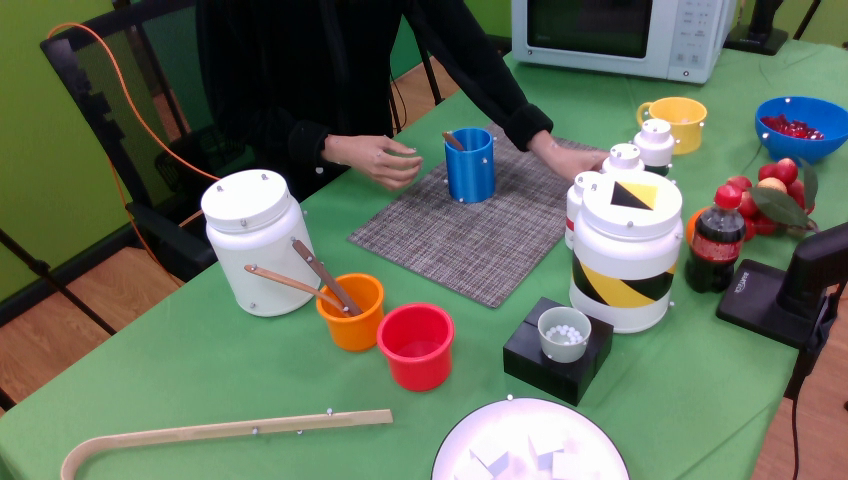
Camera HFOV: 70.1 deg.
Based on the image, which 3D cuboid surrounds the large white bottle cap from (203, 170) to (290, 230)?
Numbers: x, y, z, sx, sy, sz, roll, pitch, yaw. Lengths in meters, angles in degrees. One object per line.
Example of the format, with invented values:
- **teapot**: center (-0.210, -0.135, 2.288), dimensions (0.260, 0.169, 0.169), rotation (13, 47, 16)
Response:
- **large white bottle cap**: center (-0.241, -0.057, 0.822), dimensions (0.115, 0.018, 0.114), rotation (-4, 41, 4)

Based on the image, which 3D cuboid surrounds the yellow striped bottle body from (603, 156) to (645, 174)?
- **yellow striped bottle body**: center (0.313, -0.089, 0.955), dimensions (0.063, 0.121, 0.062), rotation (-4, 39, 4)

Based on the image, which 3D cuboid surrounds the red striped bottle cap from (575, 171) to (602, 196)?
- **red striped bottle cap**: center (0.242, -0.081, 0.876), dimensions (0.044, 0.018, 0.044), rotation (-5, 44, 5)

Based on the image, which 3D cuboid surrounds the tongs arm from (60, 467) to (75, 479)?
- **tongs arm**: center (-0.239, 0.301, 0.648), dimensions (0.386, 0.028, 0.028), rotation (6, 49, 16)

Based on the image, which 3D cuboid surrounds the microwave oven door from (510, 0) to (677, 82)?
- **microwave oven door**: center (0.352, -0.477, 1.289), dimensions (0.353, 0.245, 0.039), rotation (15, 44, 25)

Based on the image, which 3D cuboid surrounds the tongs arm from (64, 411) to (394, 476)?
- **tongs arm**: center (-0.228, 0.241, 0.715), dimensions (0.385, 0.026, 0.050), rotation (-5, 43, 4)

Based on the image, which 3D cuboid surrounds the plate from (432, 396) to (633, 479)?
- **plate**: center (0.112, 0.261, 0.634), dimensions (0.209, 0.038, 0.208), rotation (-5, 40, 4)

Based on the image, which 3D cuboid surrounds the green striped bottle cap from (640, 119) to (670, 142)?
- **green striped bottle cap**: center (0.370, -0.175, 0.968), dimensions (0.044, 0.020, 0.044), rotation (-3, 41, 3)

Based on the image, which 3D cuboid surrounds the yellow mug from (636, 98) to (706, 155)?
- **yellow mug**: center (0.453, -0.217, 1.128), dimensions (0.100, 0.064, 0.129), rotation (-34, 46, -27)

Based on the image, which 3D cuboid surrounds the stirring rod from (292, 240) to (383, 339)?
- **stirring rod**: center (-0.118, 0.068, 0.826), dimensions (0.176, 0.006, 0.014), rotation (49, 60, -4)

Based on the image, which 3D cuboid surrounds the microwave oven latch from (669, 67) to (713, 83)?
- **microwave oven latch**: center (0.556, -0.348, 1.261), dimensions (0.078, 0.029, 0.030), rotation (16, 46, 27)

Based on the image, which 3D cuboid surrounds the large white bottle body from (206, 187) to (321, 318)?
- **large white bottle body**: center (-0.233, 0.008, 0.876), dimensions (0.130, 0.185, 0.130), rotation (-5, 40, 4)

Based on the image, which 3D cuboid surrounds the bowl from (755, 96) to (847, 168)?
- **bowl**: center (0.645, -0.177, 1.041), dimensions (0.151, 0.077, 0.150), rotation (-5, 40, 4)

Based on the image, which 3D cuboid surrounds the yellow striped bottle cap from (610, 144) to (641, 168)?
- **yellow striped bottle cap**: center (0.307, -0.128, 0.923), dimensions (0.044, 0.019, 0.044), rotation (-5, 39, 5)

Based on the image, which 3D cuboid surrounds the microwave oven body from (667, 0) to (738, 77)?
- **microwave oven body**: center (0.462, -0.552, 1.369), dimensions (0.439, 0.261, 0.326), rotation (15, 45, 26)

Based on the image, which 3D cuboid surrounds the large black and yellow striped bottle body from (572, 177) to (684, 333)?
- **large black and yellow striped bottle body**: center (0.262, 0.017, 0.788), dimensions (0.131, 0.185, 0.130), rotation (-5, 40, 4)

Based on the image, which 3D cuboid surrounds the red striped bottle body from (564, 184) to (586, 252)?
- **red striped bottle body**: center (0.247, -0.041, 0.910), dimensions (0.063, 0.120, 0.062), rotation (-3, 39, 3)

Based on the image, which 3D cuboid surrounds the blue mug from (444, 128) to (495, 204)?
- **blue mug**: center (0.081, -0.139, 1.059), dimensions (0.082, 0.106, 0.116), rotation (-4, 40, 5)

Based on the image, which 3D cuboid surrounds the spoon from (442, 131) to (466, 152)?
- **spoon**: center (0.062, -0.144, 1.000), dimensions (0.041, 0.195, 0.021), rotation (11, 79, 23)

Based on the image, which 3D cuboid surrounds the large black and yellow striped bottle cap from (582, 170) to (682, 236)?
- **large black and yellow striped bottle cap**: center (0.252, -0.048, 0.735), dimensions (0.115, 0.019, 0.114), rotation (-3, 40, 3)

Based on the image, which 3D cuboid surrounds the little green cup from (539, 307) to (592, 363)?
- **little green cup**: center (0.167, 0.114, 0.721), dimensions (0.061, 0.039, 0.061), rotation (-4, 43, 4)

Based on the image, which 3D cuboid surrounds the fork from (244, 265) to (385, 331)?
- **fork**: center (-0.142, 0.078, 0.806), dimensions (0.209, 0.018, 0.028), rotation (30, 33, -24)

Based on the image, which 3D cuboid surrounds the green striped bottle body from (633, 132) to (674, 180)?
- **green striped bottle body**: center (0.376, -0.135, 1.001), dimensions (0.063, 0.120, 0.063), rotation (-5, 40, 5)
